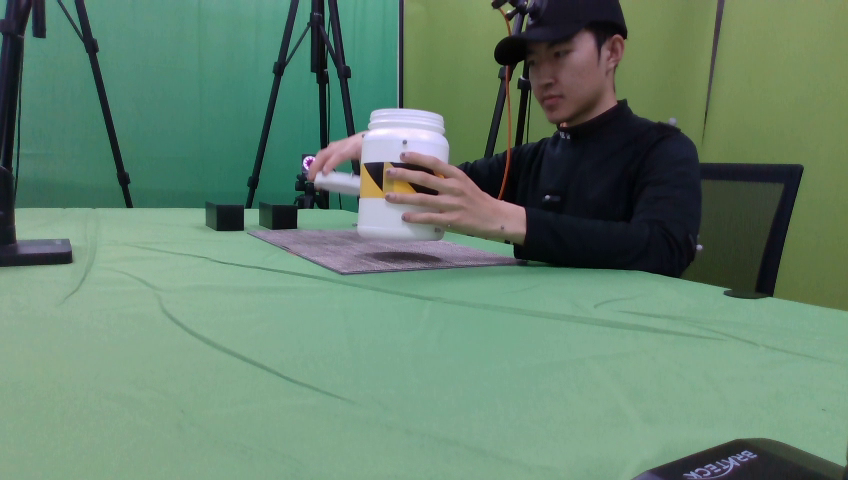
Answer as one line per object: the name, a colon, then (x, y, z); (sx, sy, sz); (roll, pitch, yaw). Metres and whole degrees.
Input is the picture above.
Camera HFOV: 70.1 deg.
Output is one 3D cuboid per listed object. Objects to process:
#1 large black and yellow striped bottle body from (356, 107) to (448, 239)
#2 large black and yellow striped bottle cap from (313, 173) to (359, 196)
large black and yellow striped bottle body: (-0.031, -0.095, 0.892); (0.131, 0.184, 0.131); (3, 2, 0)
large black and yellow striped bottle cap: (-0.144, -0.101, 1.103); (0.115, 0.019, 0.115); (9, -5, 1)
